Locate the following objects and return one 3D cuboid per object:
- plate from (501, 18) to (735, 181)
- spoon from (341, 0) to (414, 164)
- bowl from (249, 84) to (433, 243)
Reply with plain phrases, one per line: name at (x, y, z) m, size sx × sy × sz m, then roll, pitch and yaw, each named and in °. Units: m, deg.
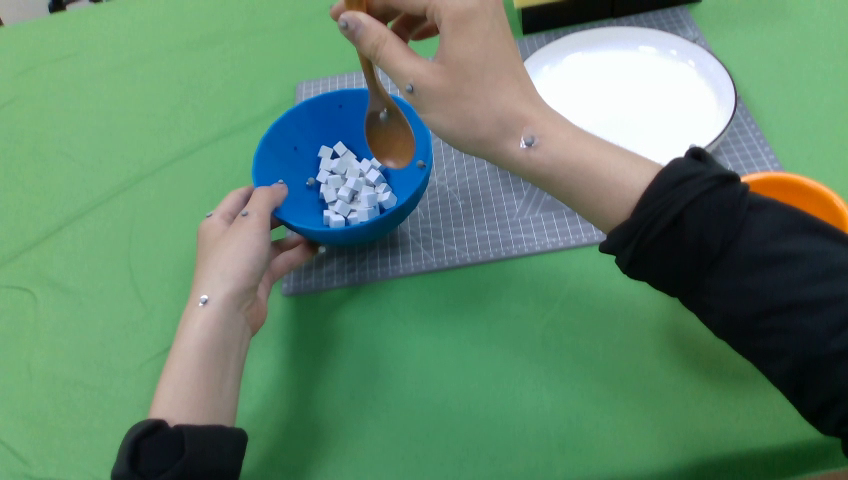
plate at (0.178, -0.132, 0.575) m, size 0.209 × 0.038 × 0.207 m, roll -6°, pitch 54°, yaw 8°
spoon at (-0.034, -0.111, 0.372) m, size 0.041 × 0.195 × 0.021 m, roll 20°, pitch 67°, yaw 16°
bowl at (-0.064, -0.052, 0.521) m, size 0.151 × 0.077 × 0.150 m, roll -3°, pitch 59°, yaw 5°
